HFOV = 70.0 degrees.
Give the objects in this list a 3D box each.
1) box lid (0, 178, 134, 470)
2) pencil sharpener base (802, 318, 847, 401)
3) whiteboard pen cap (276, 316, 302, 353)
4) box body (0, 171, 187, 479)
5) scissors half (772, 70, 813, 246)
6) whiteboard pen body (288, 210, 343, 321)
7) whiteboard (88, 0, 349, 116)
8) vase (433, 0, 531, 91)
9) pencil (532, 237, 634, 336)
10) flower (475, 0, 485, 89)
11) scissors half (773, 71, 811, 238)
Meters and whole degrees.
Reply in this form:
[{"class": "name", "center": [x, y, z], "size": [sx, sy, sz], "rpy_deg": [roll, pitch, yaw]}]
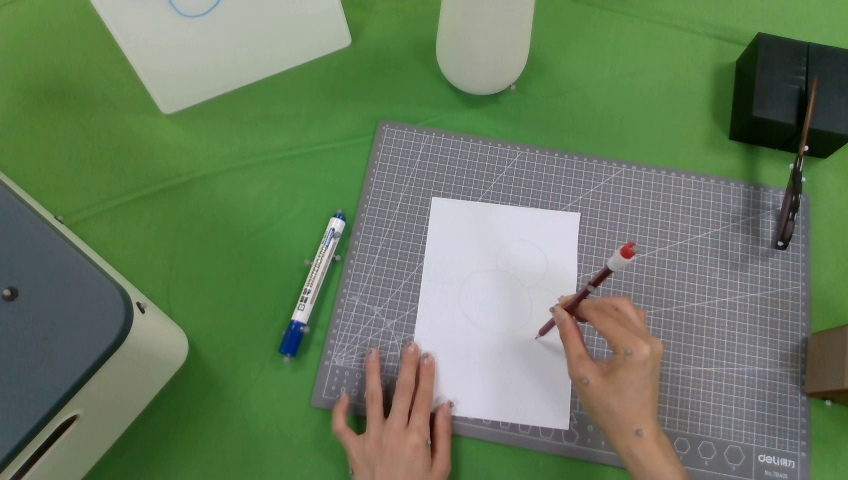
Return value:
[{"class": "box lid", "center": [-0.418, 0.036, 0.426], "size": [0.370, 0.015, 0.263], "rpy_deg": [36, 75, 10]}, {"class": "pencil sharpener base", "center": [0.391, 0.104, 0.516], "size": [0.077, 0.107, 0.061], "rpy_deg": [14, 72, 1]}, {"class": "whiteboard pen cap", "center": [-0.124, 0.087, 0.563], "size": [0.018, 0.018, 0.033], "rpy_deg": [16, 69, 5]}, {"class": "box body", "center": [-0.416, 0.061, 0.496], "size": [0.362, 0.161, 0.253], "rpy_deg": [36, 76, 10]}, {"class": "scissors half", "center": [0.361, -0.080, 0.590], "size": [0.012, 0.040, 0.175], "rpy_deg": [12, 92, 29]}, {"class": "whiteboard pen body", "center": [-0.108, 0.034, 0.582], "size": [0.017, 0.017, 0.140], "rpy_deg": [17, 71, 5]}, {"class": "whiteboard", "center": [-0.227, -0.313, 0.572], "size": [0.217, 0.308, 0.142], "rpy_deg": [-23, 54, -7]}, {"class": "vase", "center": [0.056, -0.229, 0.572], "size": [0.098, 0.201, 0.097], "rpy_deg": [0, 71, 1]}, {"class": "pencil", "center": [0.119, 0.045, 0.486], "size": [0.012, 0.195, 0.012], "rpy_deg": [5, 62, -9]}, {"class": "flower", "center": [0.052, -0.268, 0.497], "size": [0.044, 0.365, 0.038], "rpy_deg": [3, 54, 5]}, {"class": "scissors half", "center": [0.353, -0.085, 0.572], "size": [0.013, 0.040, 0.174], "rpy_deg": [12, 74, 23]}]
